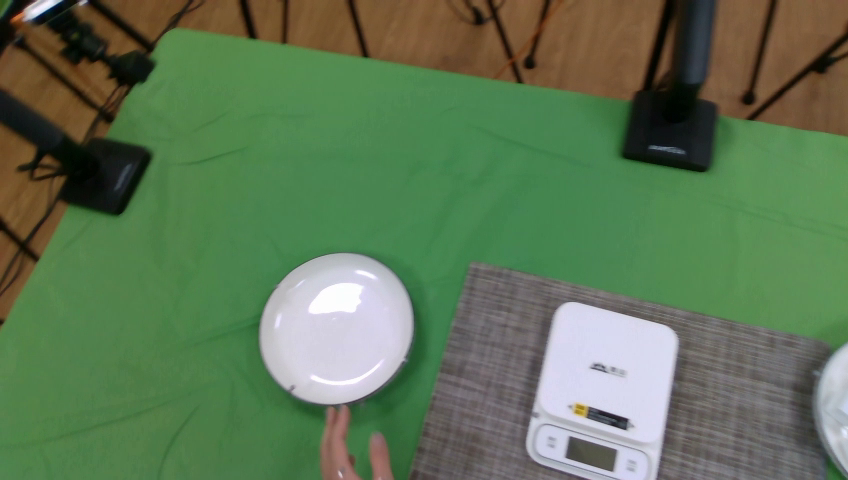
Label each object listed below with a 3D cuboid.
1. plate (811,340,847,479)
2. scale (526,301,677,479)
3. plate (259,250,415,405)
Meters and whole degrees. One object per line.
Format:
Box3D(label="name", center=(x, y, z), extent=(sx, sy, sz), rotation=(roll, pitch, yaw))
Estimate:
Box3D(label="plate", center=(0.543, 0.203, 0.677), extent=(0.207, 0.039, 0.206), rotation=(-3, 67, 7))
Box3D(label="scale", center=(0.215, 0.181, 0.730), extent=(0.148, 0.032, 0.200), rotation=(13, 70, 13))
Box3D(label="plate", center=(-0.113, 0.115, 0.804), extent=(0.209, 0.038, 0.207), rotation=(-3, 67, 7))
